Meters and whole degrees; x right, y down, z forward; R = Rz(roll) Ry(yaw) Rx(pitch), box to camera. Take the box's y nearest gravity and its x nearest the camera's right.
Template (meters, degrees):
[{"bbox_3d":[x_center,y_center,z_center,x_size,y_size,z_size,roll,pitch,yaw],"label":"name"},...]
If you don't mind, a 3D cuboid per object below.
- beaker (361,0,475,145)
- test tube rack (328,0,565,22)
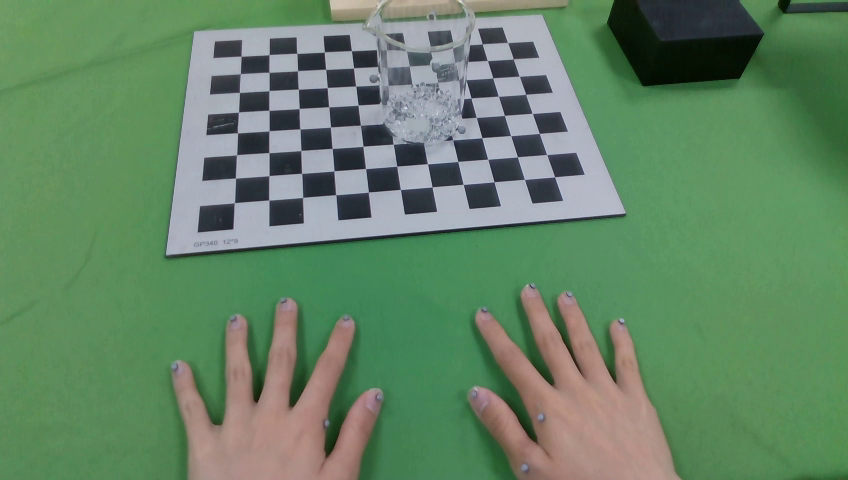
[{"bbox_3d":[-0.005,-0.131,0.478,0.084,0.101,0.073,-5,54,-5],"label":"beaker"},{"bbox_3d":[0.023,-0.280,0.599,0.243,0.086,0.066,-7,54,-8],"label":"test tube rack"}]
